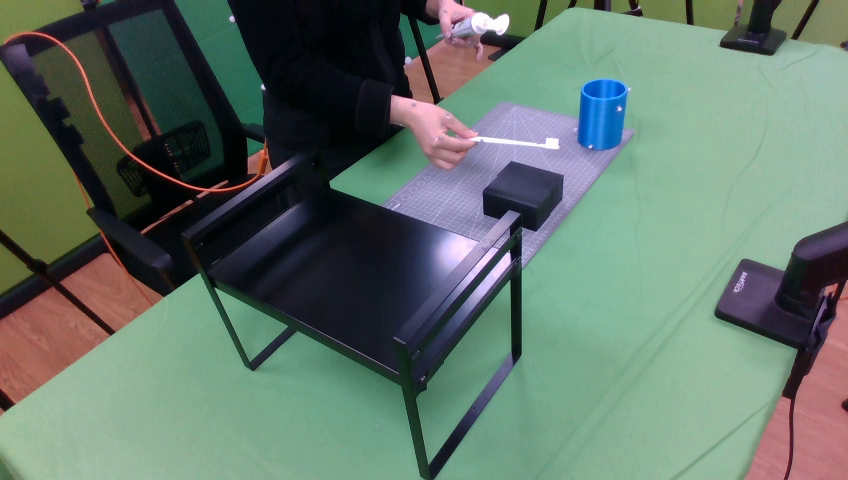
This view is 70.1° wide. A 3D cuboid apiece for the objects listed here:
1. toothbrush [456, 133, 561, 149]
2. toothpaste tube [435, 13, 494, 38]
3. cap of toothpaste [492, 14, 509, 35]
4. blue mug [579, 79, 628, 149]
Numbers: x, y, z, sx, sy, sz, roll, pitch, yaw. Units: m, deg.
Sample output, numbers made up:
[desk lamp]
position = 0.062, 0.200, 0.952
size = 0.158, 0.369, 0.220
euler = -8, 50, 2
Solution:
[toothbrush]
position = 0.133, -0.163, 0.980
size = 0.180, 0.017, 0.014
euler = 10, 32, 27
[toothpaste tube]
position = 0.080, -0.392, 1.122
size = 0.055, 0.034, 0.164
euler = -12, 14, -24
[cap of toothpaste]
position = 0.133, -0.376, 1.051
size = 0.011, 0.037, 0.037
euler = 12, 29, -34
[blue mug]
position = 0.336, -0.246, 1.143
size = 0.082, 0.106, 0.116
euler = 0, 41, 10
